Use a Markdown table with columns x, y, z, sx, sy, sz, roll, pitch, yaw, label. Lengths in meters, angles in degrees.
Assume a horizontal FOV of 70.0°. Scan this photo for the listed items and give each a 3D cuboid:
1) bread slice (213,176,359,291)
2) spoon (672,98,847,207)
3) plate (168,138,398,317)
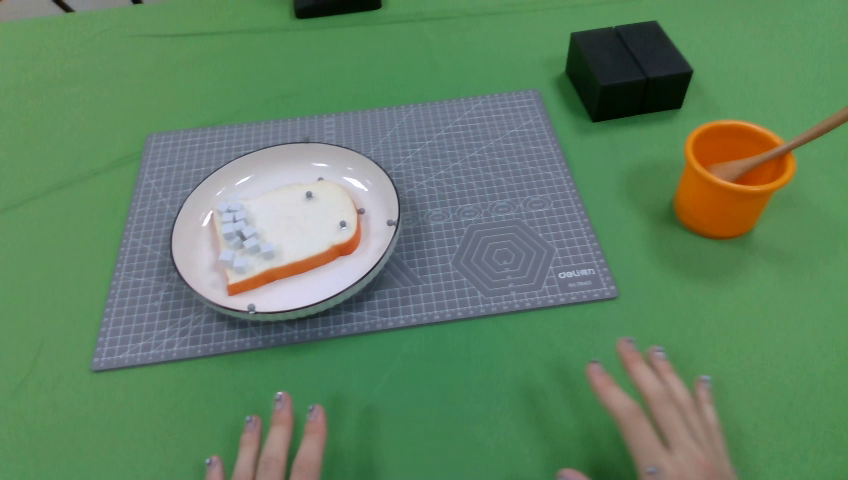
| x | y | z | sx | sy | sz | roll | pitch | yaw | label |
| --- | --- | --- | --- | --- | --- | --- | --- | --- | --- |
| -0.129 | -0.015 | 0.569 | 0.132 | 0.019 | 0.103 | -20 | 53 | -11 | bread slice |
| 0.304 | -0.084 | 0.525 | 0.193 | 0.022 | 0.041 | -30 | 41 | 32 | spoon |
| -0.126 | -0.013 | 0.564 | 0.209 | 0.038 | 0.207 | -1 | 51 | 2 | plate |
